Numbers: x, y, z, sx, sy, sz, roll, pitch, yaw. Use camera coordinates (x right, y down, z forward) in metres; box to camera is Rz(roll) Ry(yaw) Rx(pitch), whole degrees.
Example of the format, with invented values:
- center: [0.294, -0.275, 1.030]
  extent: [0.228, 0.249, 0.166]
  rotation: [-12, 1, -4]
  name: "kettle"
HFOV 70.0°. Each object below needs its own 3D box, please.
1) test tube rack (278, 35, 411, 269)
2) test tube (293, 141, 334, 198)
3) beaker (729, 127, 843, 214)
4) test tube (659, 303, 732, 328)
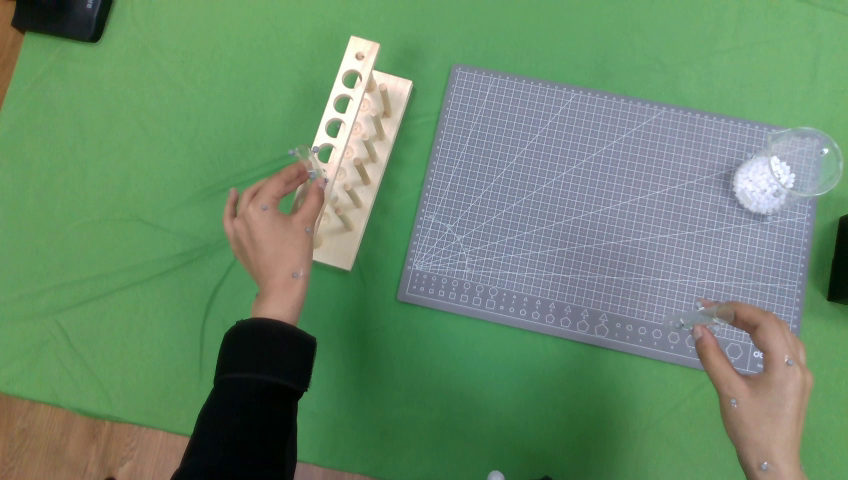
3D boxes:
- center: [-0.085, -0.096, 0.689]
  extent: [0.066, 0.085, 0.241]
  rotation: [17, 82, 5]
  name: "test tube rack"
- center: [-0.113, -0.070, 0.635]
  extent: [0.017, 0.151, 0.017]
  rotation: [0, 78, 1]
  name: "test tube"
- center: [0.384, -0.073, 0.659]
  extent: [0.083, 0.100, 0.074]
  rotation: [44, 84, 10]
  name: "beaker"
- center: [0.238, 0.069, 0.542]
  extent: [0.017, 0.151, 0.017]
  rotation: [-1, 80, 5]
  name: "test tube"
